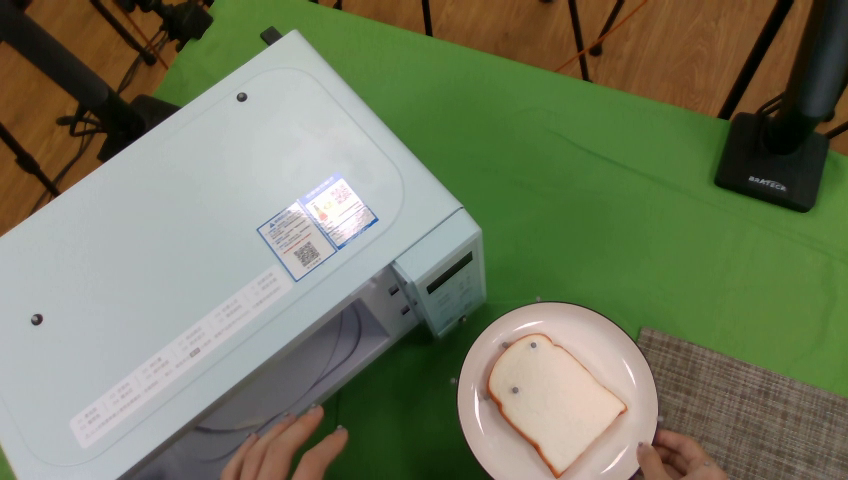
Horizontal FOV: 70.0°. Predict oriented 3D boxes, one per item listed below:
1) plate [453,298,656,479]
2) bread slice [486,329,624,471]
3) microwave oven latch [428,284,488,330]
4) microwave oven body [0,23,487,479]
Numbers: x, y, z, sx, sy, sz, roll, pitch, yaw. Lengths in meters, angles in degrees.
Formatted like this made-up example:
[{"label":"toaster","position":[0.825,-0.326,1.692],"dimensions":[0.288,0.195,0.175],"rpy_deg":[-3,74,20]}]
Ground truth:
[{"label":"plate","position":[0.135,0.166,0.643],"dimensions":[0.207,0.039,0.206],"rpy_deg":[-1,72,4]},{"label":"bread slice","position":[0.131,0.162,0.647],"dimensions":[0.105,0.019,0.131],"rpy_deg":[-43,75,-10]},{"label":"microwave oven latch","position":[0.041,0.074,0.731],"dimensions":[0.079,0.030,0.030],"rpy_deg":[-36,70,-6]},{"label":"microwave oven body","position":[-0.200,0.046,0.666],"dimensions":[0.441,0.262,0.323],"rpy_deg":[-39,71,-7]}]
